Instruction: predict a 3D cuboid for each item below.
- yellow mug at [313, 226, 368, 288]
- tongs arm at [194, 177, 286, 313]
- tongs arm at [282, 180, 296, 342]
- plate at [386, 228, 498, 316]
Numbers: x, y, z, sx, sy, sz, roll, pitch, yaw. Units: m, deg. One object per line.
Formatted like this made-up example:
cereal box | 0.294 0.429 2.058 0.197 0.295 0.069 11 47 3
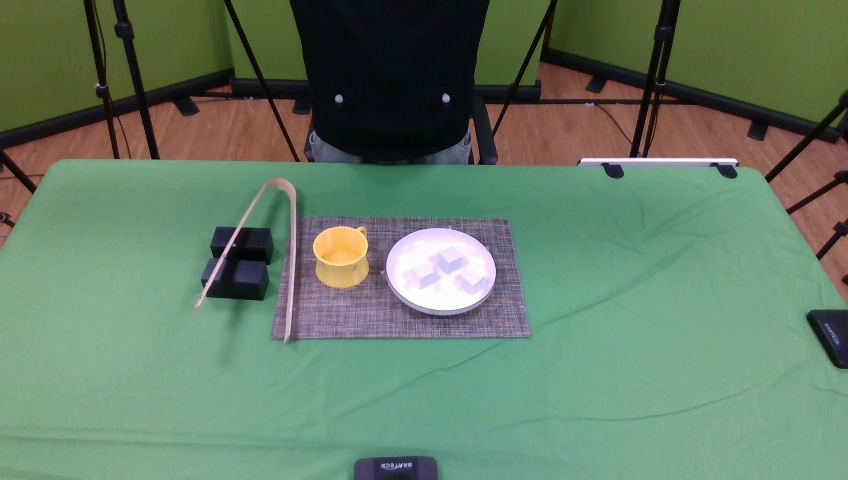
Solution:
yellow mug | -0.146 0.021 1.132 0.099 0.064 0.130 24 49 19
tongs arm | -0.327 -0.004 1.113 0.051 0.026 0.382 25 38 -15
tongs arm | -0.256 0.026 1.141 0.028 0.028 0.385 13 43 -23
plate | 0.032 0.062 1.126 0.208 0.039 0.206 2 46 -2
